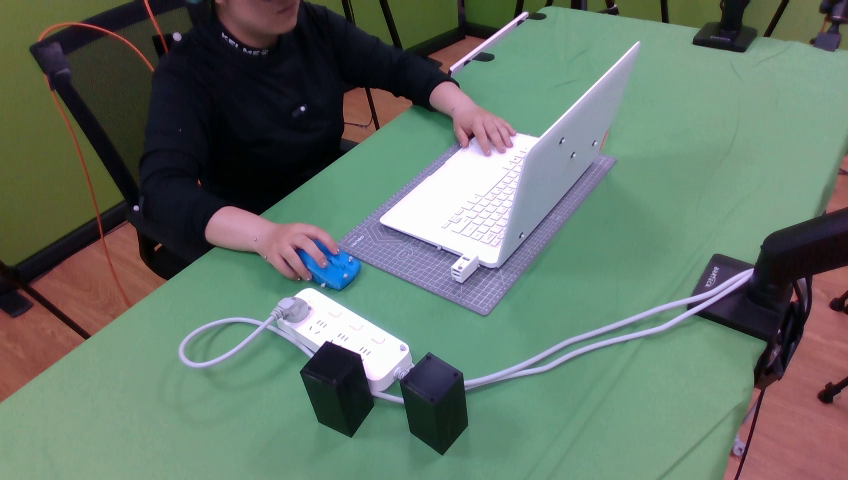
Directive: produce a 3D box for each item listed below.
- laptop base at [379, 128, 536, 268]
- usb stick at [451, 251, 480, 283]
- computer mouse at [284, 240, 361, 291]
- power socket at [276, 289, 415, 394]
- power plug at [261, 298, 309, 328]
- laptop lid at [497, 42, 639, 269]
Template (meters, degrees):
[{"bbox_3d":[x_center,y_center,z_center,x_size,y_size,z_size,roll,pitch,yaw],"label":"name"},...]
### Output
[{"bbox_3d":[0.118,-0.088,1.059,0.233,0.023,0.355,19,47,32],"label":"laptop base"},{"bbox_3d":[0.066,0.036,0.899,0.021,0.027,0.059,23,45,32],"label":"usb stick"},{"bbox_3d":[-0.158,0.036,0.939,0.116,0.041,0.063,21,45,24],"label":"computer mouse"},{"bbox_3d":[-0.114,0.133,0.821,0.225,0.033,0.072,25,49,33],"label":"power socket"},{"bbox_3d":[-0.192,0.107,0.831,0.073,0.053,0.035,-32,43,-25],"label":"power plug"},{"bbox_3d":[0.221,-0.130,0.913,0.013,0.242,0.357,31,51,21],"label":"laptop lid"}]
